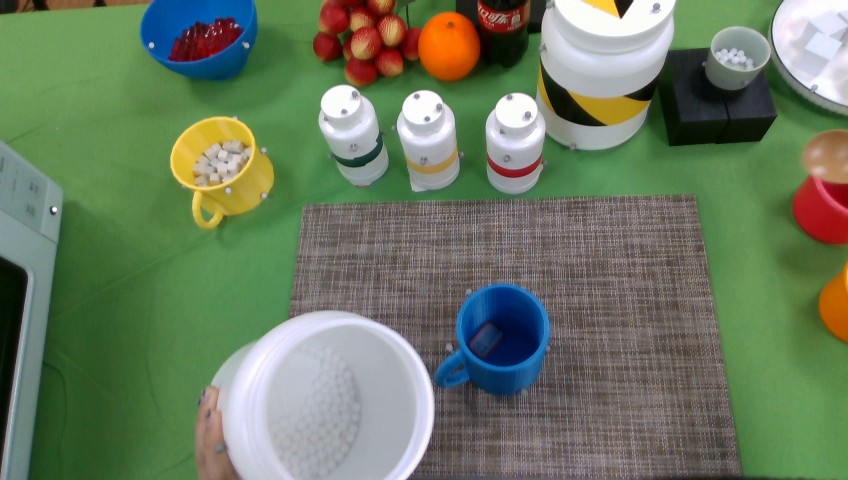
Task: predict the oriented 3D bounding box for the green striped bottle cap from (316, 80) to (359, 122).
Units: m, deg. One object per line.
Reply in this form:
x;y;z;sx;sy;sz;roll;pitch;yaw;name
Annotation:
-0.092;-0.147;0.639;0.044;0.020;0.044;-2;65;4;green striped bottle cap

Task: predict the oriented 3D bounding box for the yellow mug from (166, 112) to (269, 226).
-0.246;-0.078;0.712;0.100;0.064;0.130;8;68;10;yellow mug

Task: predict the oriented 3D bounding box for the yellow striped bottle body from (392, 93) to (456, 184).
0.001;-0.118;0.673;0.063;0.121;0.062;-3;65;6;yellow striped bottle body

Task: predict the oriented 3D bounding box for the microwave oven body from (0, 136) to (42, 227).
-0.588;0.100;0.561;0.326;0.262;0.438;-10;66;2;microwave oven body

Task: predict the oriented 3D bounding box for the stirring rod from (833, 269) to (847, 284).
0.417;0.065;0.539;0.014;0.006;0.175;2;23;4;stirring rod

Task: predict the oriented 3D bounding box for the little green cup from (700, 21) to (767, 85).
0.335;-0.203;0.663;0.061;0.039;0.061;-1;64;3;little green cup

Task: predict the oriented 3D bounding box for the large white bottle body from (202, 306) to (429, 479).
-0.083;0.119;0.436;0.131;0.184;0.130;7;73;-24;large white bottle body

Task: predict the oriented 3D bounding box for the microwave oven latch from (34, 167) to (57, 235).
-0.457;-0.045;0.715;0.030;0.030;0.078;-8;67;2;microwave oven latch

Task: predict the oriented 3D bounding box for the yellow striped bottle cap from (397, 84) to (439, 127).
-0.006;-0.139;0.626;0.044;0.019;0.044;0;64;1;yellow striped bottle cap

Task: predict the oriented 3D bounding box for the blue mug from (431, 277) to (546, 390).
0.057;0.100;0.575;0.116;0.107;0.081;-31;65;-7;blue mug

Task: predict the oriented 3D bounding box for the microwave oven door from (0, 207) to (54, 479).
-0.439;0.112;0.534;0.039;0.246;0.352;-10;66;2;microwave oven door

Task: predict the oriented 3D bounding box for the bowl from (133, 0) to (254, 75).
-0.287;-0.271;0.795;0.151;0.077;0.150;-2;66;5;bowl

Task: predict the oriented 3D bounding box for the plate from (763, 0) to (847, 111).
0.506;-0.233;0.714;0.209;0.038;0.207;-2;67;5;plate

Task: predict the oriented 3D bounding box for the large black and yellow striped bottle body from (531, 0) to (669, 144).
0.185;-0.204;0.656;0.130;0.185;0.130;-2;66;6;large black and yellow striped bottle body

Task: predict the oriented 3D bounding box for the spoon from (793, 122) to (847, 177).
0.360;-0.045;0.419;0.191;0.022;0.042;30;108;46;spoon

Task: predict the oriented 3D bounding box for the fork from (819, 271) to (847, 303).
0.448;0.066;0.528;0.028;0.019;0.205;-46;25;-6;fork

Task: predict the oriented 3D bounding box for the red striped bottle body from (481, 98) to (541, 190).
0.095;-0.110;0.660;0.063;0.121;0.062;-4;64;8;red striped bottle body

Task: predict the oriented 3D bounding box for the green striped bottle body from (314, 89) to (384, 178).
-0.085;-0.126;0.686;0.063;0.120;0.062;-2;66;5;green striped bottle body

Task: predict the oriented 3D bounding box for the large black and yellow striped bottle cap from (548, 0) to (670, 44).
0.176;-0.238;0.577;0.115;0.019;0.114;-3;67;8;large black and yellow striped bottle cap

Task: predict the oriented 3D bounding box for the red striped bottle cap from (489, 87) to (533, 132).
0.088;-0.132;0.612;0.044;0.018;0.044;-1;65;2;red striped bottle cap
